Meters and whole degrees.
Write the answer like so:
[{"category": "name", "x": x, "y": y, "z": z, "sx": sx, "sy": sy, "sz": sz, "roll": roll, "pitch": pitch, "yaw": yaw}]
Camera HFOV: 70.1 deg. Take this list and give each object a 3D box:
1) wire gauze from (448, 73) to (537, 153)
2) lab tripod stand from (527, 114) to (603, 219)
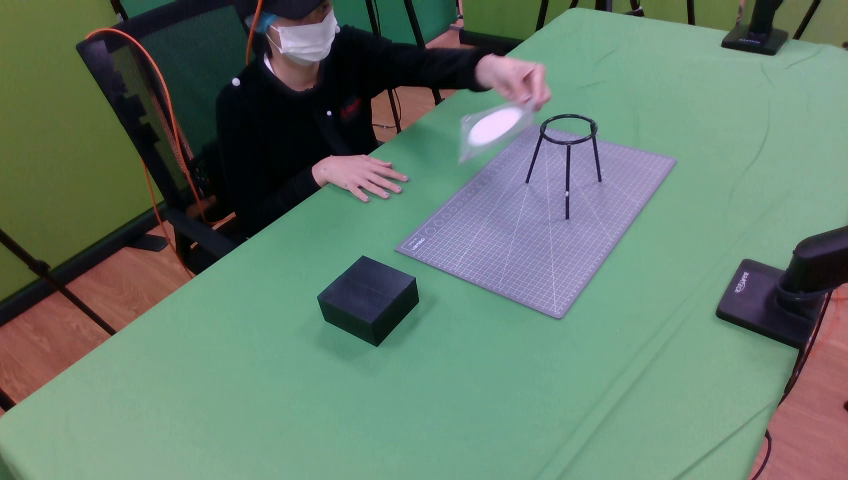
[{"category": "wire gauze", "x": 0.096, "y": -0.187, "z": 0.897, "sx": 0.125, "sy": 0.011, "sz": 0.120, "roll": -37, "pitch": 35, "yaw": 9}, {"category": "lab tripod stand", "x": 0.234, "y": -0.129, "z": 1.002, "sx": 0.148, "sy": 0.132, "sz": 0.147, "roll": -6, "pitch": 40, "yaw": 6}]
